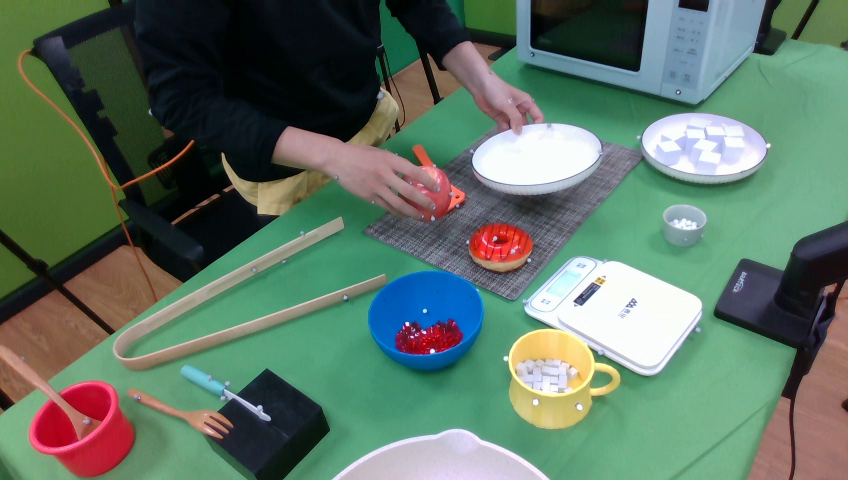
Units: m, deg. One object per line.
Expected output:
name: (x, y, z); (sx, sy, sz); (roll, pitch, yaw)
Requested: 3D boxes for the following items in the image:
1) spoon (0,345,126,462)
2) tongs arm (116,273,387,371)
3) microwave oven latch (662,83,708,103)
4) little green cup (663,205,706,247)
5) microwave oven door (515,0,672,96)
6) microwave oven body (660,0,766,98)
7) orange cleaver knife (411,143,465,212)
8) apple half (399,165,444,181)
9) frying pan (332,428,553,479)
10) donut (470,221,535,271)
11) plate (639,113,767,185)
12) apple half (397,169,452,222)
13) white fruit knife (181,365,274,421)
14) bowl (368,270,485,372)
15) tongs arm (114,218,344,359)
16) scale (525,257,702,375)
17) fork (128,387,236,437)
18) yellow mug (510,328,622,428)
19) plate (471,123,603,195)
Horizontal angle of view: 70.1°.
spoon: (-0.434, 0.192, 0.720); (0.194, 0.021, 0.042); (47, 53, -7)
tongs arm: (-0.236, 0.115, 0.869); (0.389, 0.028, 0.028); (-18, 49, -13)
microwave oven latch: (0.517, -0.296, 1.204); (0.078, 0.029, 0.030); (28, 52, 35)
little green cup: (0.396, -0.020, 0.926); (0.061, 0.039, 0.061); (-4, 40, 4)
microwave oven door: (0.343, -0.454, 1.259); (0.353, 0.245, 0.039); (26, 51, 33)
microwave oven body: (0.472, -0.513, 1.317); (0.438, 0.261, 0.327); (26, 51, 34)
orange cleaver knife: (0.004, -0.113, 1.103); (0.077, 0.012, 0.209); (-24, 45, -9)
apple half: (-0.002, -0.086, 0.917); (0.081, 0.081, 0.032); (-8, 46, -1)
frying pan: (-0.089, 0.306, 0.564); (0.487, 0.103, 0.306); (10, 41, 7)
donut: (0.118, 0.009, 0.923); (0.099, 0.048, 0.098); (-3, 39, 3)
plate: (0.489, -0.157, 1.074); (0.207, 0.039, 0.206); (-4, 40, 4)
apple half: (0.003, -0.059, 0.891); (0.081, 0.075, 0.053); (-8, 47, -1)
white fruit knife: (-0.245, 0.187, 0.747); (0.205, 0.027, 0.016); (9, 41, 40)
bowl: (0.007, 0.118, 0.791); (0.151, 0.077, 0.150); (-4, 40, 4)
tongs arm: (-0.280, 0.068, 0.926); (0.386, 0.026, 0.050); (-29, 49, -23)
scale: (0.254, 0.091, 0.821); (0.199, 0.032, 0.149); (28, 51, 35)
fork: (-0.305, 0.207, 0.744); (0.206, 0.019, 0.028); (3, 42, 36)
yellow mug: (0.168, 0.164, 0.722); (0.130, 0.064, 0.099); (0, 40, 8)
plate: (0.181, -0.127, 0.974); (0.209, 0.038, 0.208); (-8, 35, 6)
